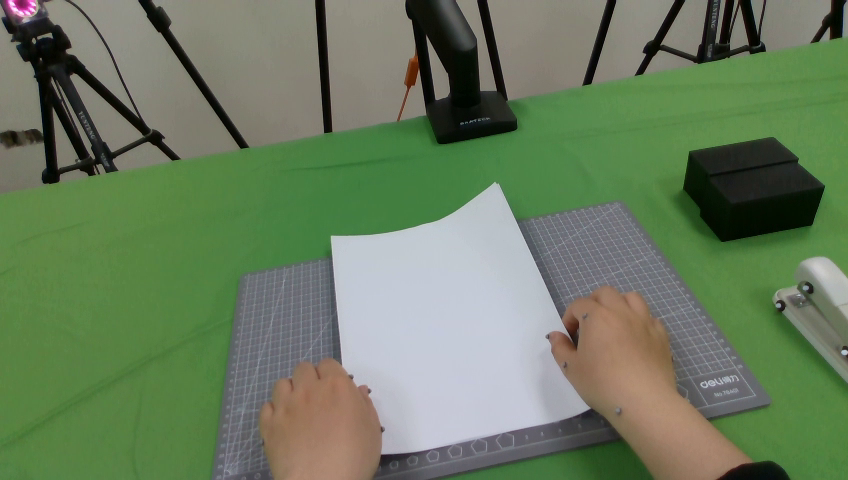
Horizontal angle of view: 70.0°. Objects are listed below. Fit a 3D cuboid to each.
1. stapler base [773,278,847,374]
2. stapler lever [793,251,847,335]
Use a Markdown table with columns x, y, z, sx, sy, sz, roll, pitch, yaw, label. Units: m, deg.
| x | y | z | sx | sy | sz | roll | pitch | yaw | label |
| --- | --- | --- | --- | --- | --- | --- | --- | --- | --- |
| 0.354 | 0.073 | 0.515 | 0.041 | 0.025 | 0.129 | -14 | 41 | -3 | stapler base |
| 0.351 | 0.055 | 0.498 | 0.027 | 0.040 | 0.116 | -14 | 40 | -2 | stapler lever |
